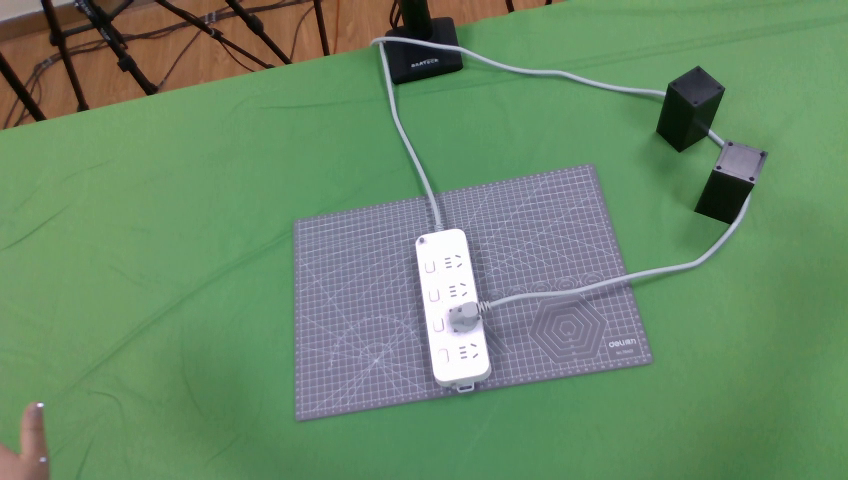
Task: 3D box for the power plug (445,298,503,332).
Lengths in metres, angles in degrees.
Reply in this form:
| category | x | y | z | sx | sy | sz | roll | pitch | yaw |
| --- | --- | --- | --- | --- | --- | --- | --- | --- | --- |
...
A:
| category | x | y | z | sx | sy | sz | roll | pitch | yaw |
| --- | --- | --- | --- | --- | --- | --- | --- | --- | --- |
| power plug | 0.062 | 0.097 | 0.756 | 0.072 | 0.053 | 0.035 | -1 | 64 | 8 |

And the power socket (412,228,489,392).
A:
| category | x | y | z | sx | sy | sz | roll | pitch | yaw |
| --- | --- | --- | --- | --- | --- | --- | --- | --- | --- |
| power socket | 0.032 | 0.083 | 0.789 | 0.072 | 0.033 | 0.224 | -11 | 61 | 4 |
